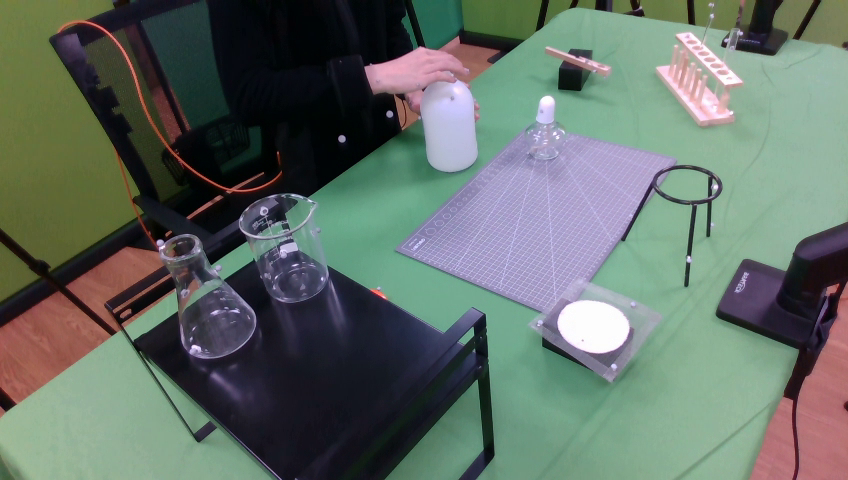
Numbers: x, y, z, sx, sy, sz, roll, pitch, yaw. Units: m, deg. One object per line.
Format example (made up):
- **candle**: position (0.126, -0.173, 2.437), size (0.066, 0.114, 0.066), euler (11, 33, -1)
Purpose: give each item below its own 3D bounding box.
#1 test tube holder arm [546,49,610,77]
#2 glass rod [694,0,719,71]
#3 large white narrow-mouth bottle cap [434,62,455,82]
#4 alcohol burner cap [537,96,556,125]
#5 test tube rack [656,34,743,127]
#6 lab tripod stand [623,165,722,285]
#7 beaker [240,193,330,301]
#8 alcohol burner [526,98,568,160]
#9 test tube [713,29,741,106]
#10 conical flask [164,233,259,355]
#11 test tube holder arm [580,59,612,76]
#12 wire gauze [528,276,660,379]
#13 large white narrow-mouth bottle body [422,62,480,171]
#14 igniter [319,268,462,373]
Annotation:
- **test tube holder arm**: position (0.332, -0.387, 1.315), size (0.013, 0.015, 0.177), euler (-26, 43, -28)
- **glass rod**: position (0.560, -0.401, 1.214), size (0.008, 0.200, 0.008), euler (-1, 48, 2)
- **large white narrow-mouth bottle cap**: position (0.036, -0.294, 1.056), size (0.038, 0.024, 0.037), euler (-5, 40, 5)
- **alcohol burner cap**: position (0.223, -0.237, 1.095), size (0.034, 0.048, 0.033), euler (-1, 42, 1)
- **test tube rack**: position (0.553, -0.330, 1.233), size (0.067, 0.085, 0.241), euler (-7, 40, 2)
- **lab tripod stand**: position (0.365, -0.030, 0.874), size (0.148, 0.132, 0.147), euler (-6, 41, 6)
- **beaker**: position (-0.144, 0.009, 0.656), size (0.084, 0.101, 0.073), euler (-25, 43, -19)
- **alcohol burner**: position (0.228, -0.210, 1.118), size (0.078, 0.119, 0.077), euler (-5, 43, 5)
- **test tube**: position (0.572, -0.324, 1.146), size (0.017, 0.151, 0.017), euler (-3, 39, 3)
- **conical flask**: position (-0.216, 0.051, 0.601), size (0.075, 0.122, 0.075), euler (-4, 40, 4)
- **test tube holder arm**: position (0.363, -0.369, 1.288), size (0.010, 0.015, 0.087), euler (-27, 43, -29)
- **wire gauze**: position (0.214, 0.103, 0.763), size (0.124, 0.011, 0.122), euler (30, 52, 35)
- **large white narrow-mouth bottle body**: position (0.047, -0.230, 1.111), size (0.102, 0.195, 0.101), euler (-5, 40, 5)
- **igniter**: position (-0.059, 0.107, 0.862), size (0.274, 0.025, 0.057), euler (27, 62, 34)
